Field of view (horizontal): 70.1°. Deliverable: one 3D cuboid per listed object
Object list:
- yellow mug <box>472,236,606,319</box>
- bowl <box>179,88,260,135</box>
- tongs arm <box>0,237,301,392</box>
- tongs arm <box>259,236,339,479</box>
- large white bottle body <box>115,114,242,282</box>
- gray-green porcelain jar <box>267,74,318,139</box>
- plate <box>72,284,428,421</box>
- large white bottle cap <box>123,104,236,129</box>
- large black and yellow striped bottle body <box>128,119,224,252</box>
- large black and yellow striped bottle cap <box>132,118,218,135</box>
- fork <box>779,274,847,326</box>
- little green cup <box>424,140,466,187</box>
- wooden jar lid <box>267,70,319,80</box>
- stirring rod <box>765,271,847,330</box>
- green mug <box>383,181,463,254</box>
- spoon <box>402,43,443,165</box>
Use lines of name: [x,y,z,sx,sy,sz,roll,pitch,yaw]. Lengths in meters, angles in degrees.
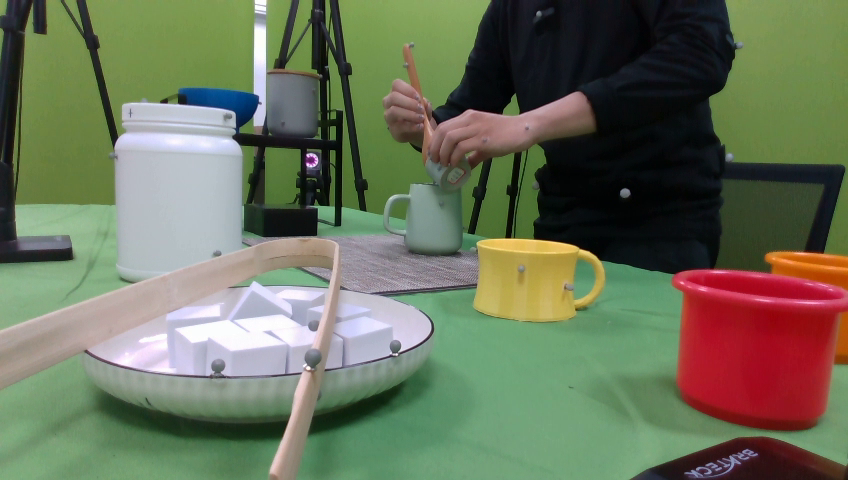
yellow mug: [0.114,0.034,0.590,0.131,0.064,0.100,3,6,-7]
bowl: [-0.400,-0.248,1.188,0.151,0.077,0.151,2,6,0]
tongs arm: [-0.158,0.038,0.347,0.028,0.028,0.388,-3,8,11]
tongs arm: [-0.074,0.040,0.345,0.051,0.026,0.384,-1,9,-3]
large white bottle body: [-0.270,-0.051,0.673,0.131,0.184,0.130,2,8,0]
gray-green porcelain jar: [-0.277,-0.279,1.280,0.106,0.126,0.106,2,8,0]
plate: [-0.102,0.067,0.381,0.208,0.039,0.207,3,7,0]
large white bottle cap: [-0.266,-0.134,0.663,0.115,0.018,0.115,3,7,0]
large black and yellow striped bottle body: [-0.361,-0.081,0.887,0.131,0.184,0.130,2,8,0]
large black and yellow striped bottle cap: [-0.359,-0.164,0.875,0.115,0.019,0.115,2,6,0]
fork: [0.332,0.018,0.443,0.028,0.018,0.207,-2,-35,-16]
little green cup: [0.032,-0.108,0.868,0.062,0.061,0.038,1,46,-11]
wooden jar lid: [-0.275,-0.339,1.271,0.108,0.020,0.108,5,6,0]
stirring rod: [0.352,0.020,0.481,0.176,0.006,0.014,-40,-8,17]
green mug: [-0.001,-0.036,0.922,0.126,0.105,0.092,0,8,-16]
spoon: [-0.004,-0.193,0.883,0.041,0.193,0.021,-16,0,3]
